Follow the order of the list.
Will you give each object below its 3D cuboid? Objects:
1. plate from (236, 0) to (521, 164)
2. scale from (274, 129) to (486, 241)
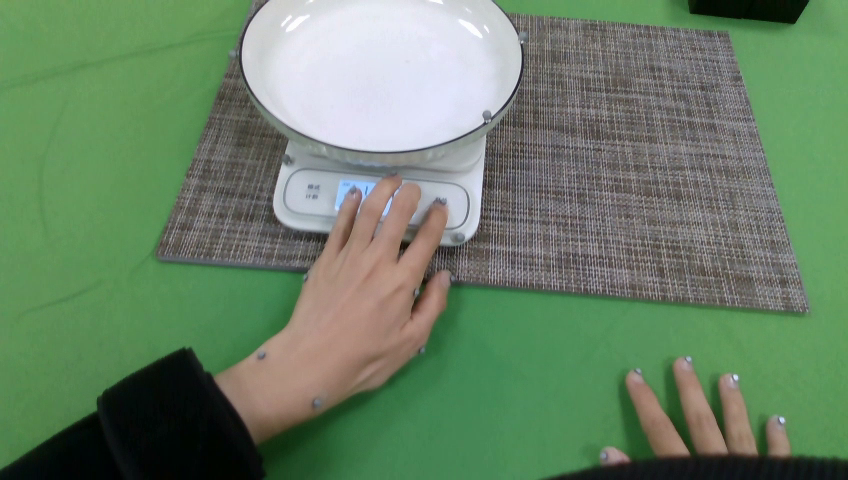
[{"bbox_3d":[-0.032,-0.134,0.458,0.208,0.039,0.205,2,57,-3],"label":"plate"},{"bbox_3d":[-0.026,-0.093,0.470,0.148,0.032,0.199,6,58,2],"label":"scale"}]
